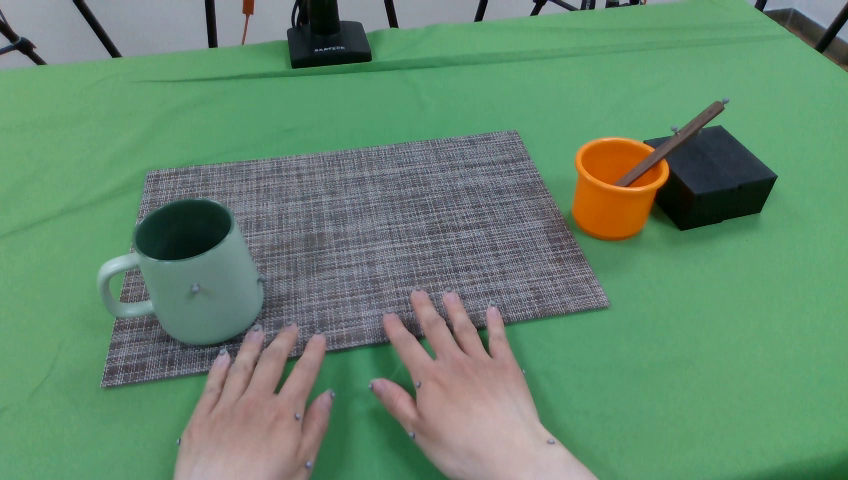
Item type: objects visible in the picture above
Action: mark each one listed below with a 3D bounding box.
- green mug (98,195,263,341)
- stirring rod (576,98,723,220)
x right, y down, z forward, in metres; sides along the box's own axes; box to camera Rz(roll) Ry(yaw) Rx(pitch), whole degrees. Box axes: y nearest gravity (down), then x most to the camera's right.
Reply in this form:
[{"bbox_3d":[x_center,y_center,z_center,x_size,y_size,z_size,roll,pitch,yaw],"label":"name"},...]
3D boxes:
[{"bbox_3d":[-0.208,0.031,0.518,0.125,0.106,0.091,-17,47,-16],"label":"green mug"},{"bbox_3d":[0.226,-0.080,0.616,0.176,0.006,0.014,-42,48,19],"label":"stirring rod"}]
